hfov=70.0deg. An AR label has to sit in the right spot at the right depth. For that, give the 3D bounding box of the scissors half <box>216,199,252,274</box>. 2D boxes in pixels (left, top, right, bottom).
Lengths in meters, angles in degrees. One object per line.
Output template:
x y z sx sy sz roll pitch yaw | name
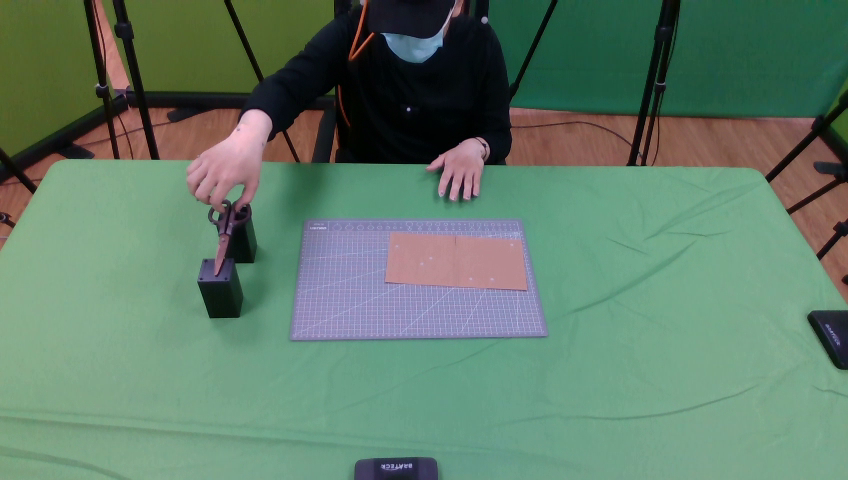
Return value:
-0.332 -0.009 1.049 0.040 0.013 0.174 6 48 0 | scissors half

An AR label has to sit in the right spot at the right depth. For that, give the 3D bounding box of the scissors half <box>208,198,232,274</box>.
-0.352 -0.009 1.046 0.040 0.013 0.174 -3 48 -15 | scissors half

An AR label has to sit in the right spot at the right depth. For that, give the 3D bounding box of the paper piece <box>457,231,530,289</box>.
0.132 0.038 1.171 0.138 0.009 0.135 4 50 -1 | paper piece

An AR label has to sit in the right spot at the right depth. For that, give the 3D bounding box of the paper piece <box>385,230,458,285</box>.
-0.002 0.031 1.169 0.136 0.004 0.134 3 48 1 | paper piece
